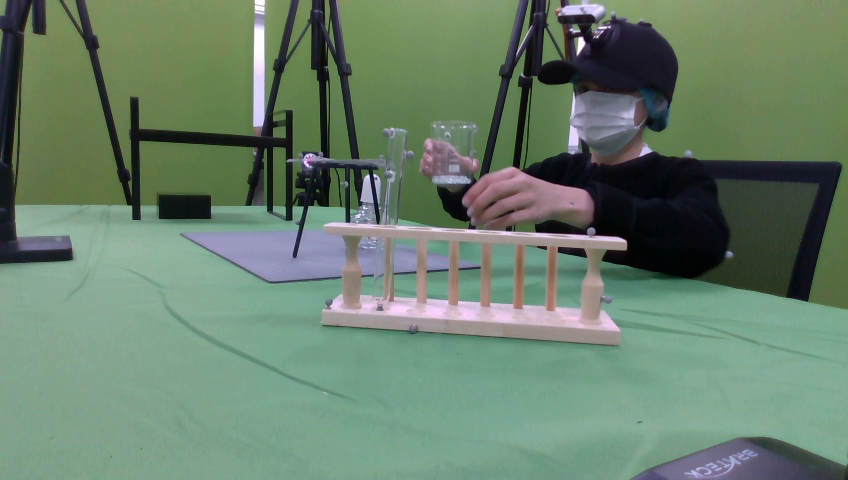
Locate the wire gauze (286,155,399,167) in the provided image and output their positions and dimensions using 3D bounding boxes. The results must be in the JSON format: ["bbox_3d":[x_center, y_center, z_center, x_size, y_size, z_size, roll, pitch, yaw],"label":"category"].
[{"bbox_3d":[-0.101,-0.105,0.788,0.121,0.011,0.125,4,6,6],"label":"wire gauze"}]

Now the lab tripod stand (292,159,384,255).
[{"bbox_3d":[-0.105,-0.039,0.797,0.148,0.131,0.148,2,5,0],"label":"lab tripod stand"}]

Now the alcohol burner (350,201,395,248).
[{"bbox_3d":[-0.084,-0.048,0.953,0.078,0.119,0.078,1,6,0],"label":"alcohol burner"}]

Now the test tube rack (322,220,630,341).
[{"bbox_3d":[0.041,0.029,0.512,0.242,0.085,0.067,3,7,5],"label":"test tube rack"}]

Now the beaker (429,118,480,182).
[{"bbox_3d":[0.051,-0.146,0.994,0.084,0.100,0.074,-1,5,-5],"label":"beaker"}]

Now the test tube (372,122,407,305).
[{"bbox_3d":[-0.029,-0.020,0.493,0.017,0.150,0.017,6,9,-1],"label":"test tube"}]

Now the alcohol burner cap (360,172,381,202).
[{"bbox_3d":[-0.081,-0.084,0.949,0.034,0.048,0.034,7,7,-1],"label":"alcohol burner cap"}]
